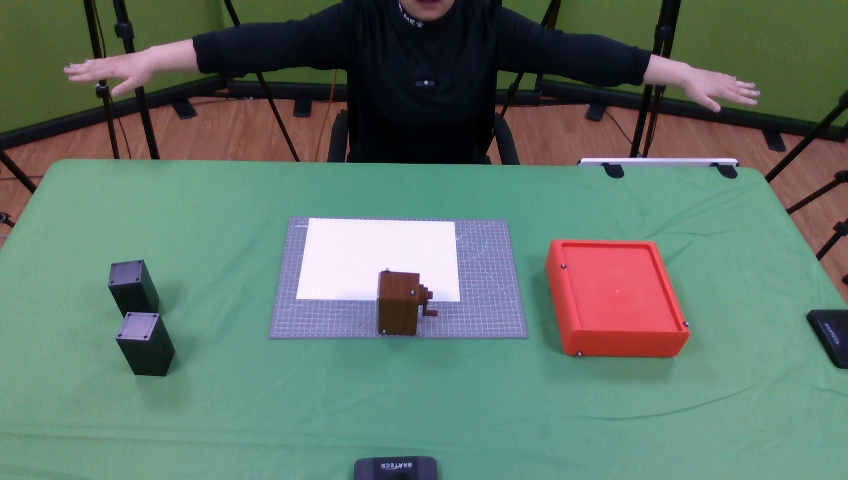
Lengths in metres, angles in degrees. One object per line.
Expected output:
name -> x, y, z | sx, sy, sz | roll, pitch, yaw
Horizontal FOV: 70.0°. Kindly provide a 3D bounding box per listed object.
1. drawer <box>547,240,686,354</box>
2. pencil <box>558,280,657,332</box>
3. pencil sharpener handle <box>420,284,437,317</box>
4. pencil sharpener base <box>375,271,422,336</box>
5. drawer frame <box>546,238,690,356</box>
drawer -> 0.336, 0.098, 1.087 | 0.194, 0.073, 0.210 | 2, 46, -3
pencil -> 0.334, 0.121, 1.104 | 0.193, 0.012, 0.012 | 27, 50, 14
pencil sharpener handle -> 0.009, 0.104, 1.017 | 0.030, 0.068, 0.036 | 3, 39, -2
pencil sharpener base -> -0.043, 0.109, 1.025 | 0.077, 0.107, 0.061 | 3, 45, -2
drawer frame -> 0.337, 0.098, 1.084 | 0.202, 0.083, 0.212 | 1, 46, -4
